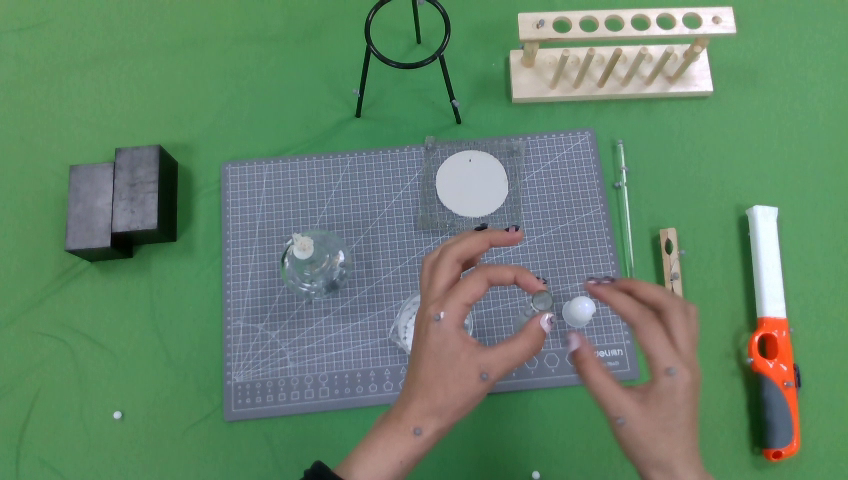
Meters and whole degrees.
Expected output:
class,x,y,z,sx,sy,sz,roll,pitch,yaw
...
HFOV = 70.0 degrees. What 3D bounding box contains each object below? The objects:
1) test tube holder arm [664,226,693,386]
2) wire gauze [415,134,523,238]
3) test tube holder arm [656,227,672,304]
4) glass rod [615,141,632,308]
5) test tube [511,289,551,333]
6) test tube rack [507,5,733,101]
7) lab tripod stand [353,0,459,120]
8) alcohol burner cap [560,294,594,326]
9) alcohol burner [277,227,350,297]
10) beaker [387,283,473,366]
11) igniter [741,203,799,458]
class,x,y,z,sx,sy,sz,roll,pitch,yaw
test tube holder arm,0.281,0.071,0.672,0.013,0.015,0.177,-13,72,35
wire gauze,0.055,-0.067,0.714,0.125,0.011,0.121,6,76,1
test tube holder arm,0.275,0.029,0.686,0.010,0.015,0.087,-12,72,35
glass rod,0.231,-0.021,0.703,0.008,0.008,0.198,0,78,0
test tube,0.083,0.059,0.484,0.017,0.151,0.017,-1,75,3
test tube rack,0.225,-0.218,0.716,0.242,0.085,0.066,-2,75,0
lab tripod stand,-0.021,-0.201,0.688,0.148,0.132,0.147,0,77,1
alcohol burner cap,0.168,0.073,0.658,0.034,0.048,0.033,0,75,1
alcohol burner,-0.120,0.019,0.637,0.078,0.120,0.077,-1,74,3
beaker,0.007,0.092,0.625,0.084,0.101,0.073,-13,74,-2
igniter,0.376,0.093,0.663,0.057,0.025,0.275,5,75,-9
